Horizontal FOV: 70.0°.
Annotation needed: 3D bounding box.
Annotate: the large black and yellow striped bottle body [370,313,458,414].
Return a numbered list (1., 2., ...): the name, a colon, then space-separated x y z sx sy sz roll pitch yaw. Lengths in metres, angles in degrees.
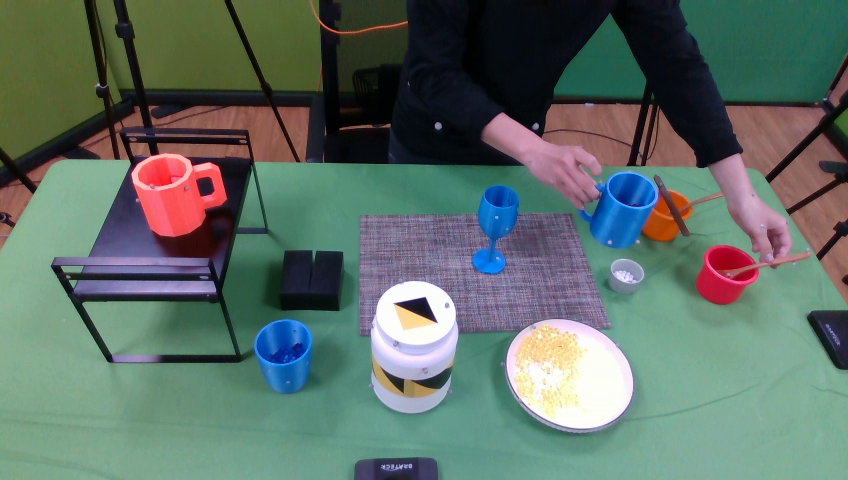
1. large black and yellow striped bottle body: -0.017 0.165 0.924 0.131 0.185 0.130 2 46 -2

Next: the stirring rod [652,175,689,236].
1. stirring rod: 0.491 -0.072 1.211 0.014 0.006 0.175 -2 47 -5

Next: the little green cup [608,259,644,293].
1. little green cup: 0.379 0.070 1.147 0.061 0.039 0.061 3 45 -2

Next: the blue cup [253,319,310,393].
1. blue cup: -0.217 0.187 0.943 0.093 0.101 0.092 4 45 -3

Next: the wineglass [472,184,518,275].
1. wineglass: 0.129 -0.018 1.113 0.074 0.173 0.073 2 46 -2

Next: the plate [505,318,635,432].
1. plate: 0.235 0.221 0.991 0.209 0.038 0.208 2 45 -2

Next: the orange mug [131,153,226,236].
1. orange mug: -0.375 -0.075 0.937 0.126 0.101 0.083 -20 50 -17

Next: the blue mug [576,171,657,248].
1. blue mug: 0.311 -0.055 1.007 0.116 0.106 0.082 16 54 9

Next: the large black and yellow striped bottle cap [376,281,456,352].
1. large black and yellow striped bottle cap: -0.011 0.107 0.863 0.115 0.019 0.114 2 47 -2

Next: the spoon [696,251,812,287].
1. spoon: 0.600 0.050 1.109 0.193 0.022 0.041 -23 37 38

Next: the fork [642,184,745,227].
1. fork: 0.534 -0.068 1.215 0.207 0.019 0.028 -26 30 33
